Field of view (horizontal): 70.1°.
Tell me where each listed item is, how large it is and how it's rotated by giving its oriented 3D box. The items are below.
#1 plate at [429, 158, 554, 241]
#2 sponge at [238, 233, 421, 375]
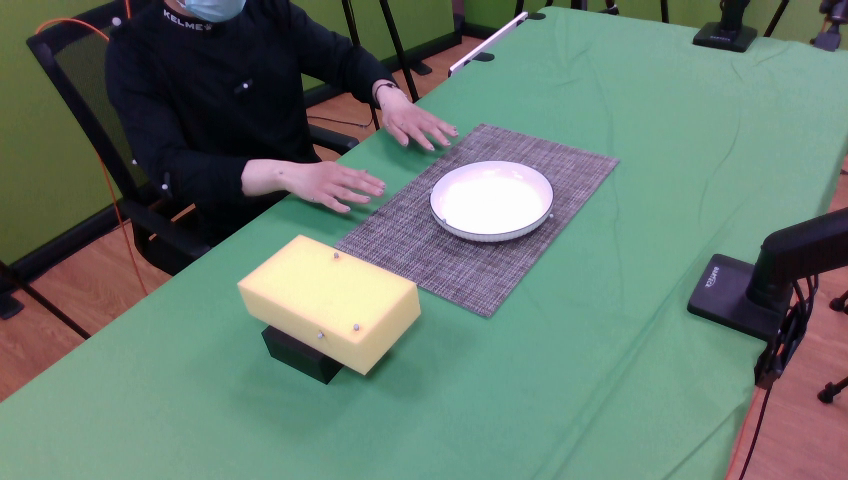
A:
[{"bbox_3d":[0.112,-0.065,1.011,0.207,0.039,0.206,-4,41,4],"label":"plate"},{"bbox_3d":[-0.124,0.077,0.791,0.205,0.061,0.118,21,48,28],"label":"sponge"}]
